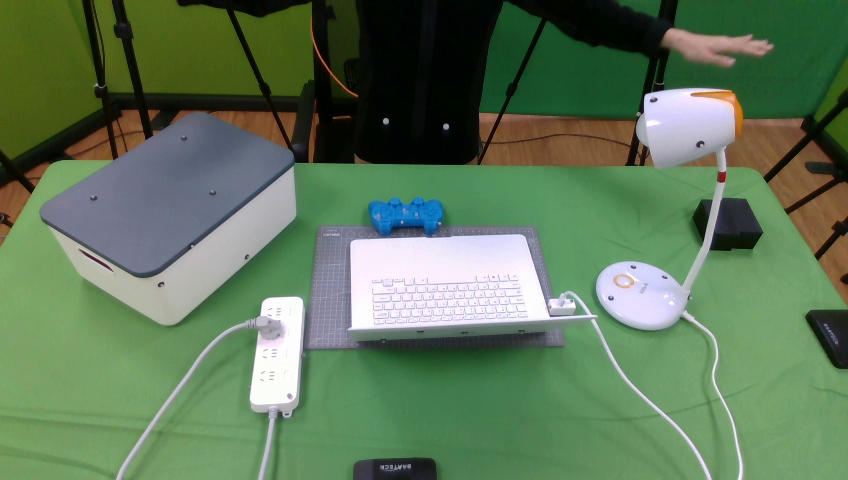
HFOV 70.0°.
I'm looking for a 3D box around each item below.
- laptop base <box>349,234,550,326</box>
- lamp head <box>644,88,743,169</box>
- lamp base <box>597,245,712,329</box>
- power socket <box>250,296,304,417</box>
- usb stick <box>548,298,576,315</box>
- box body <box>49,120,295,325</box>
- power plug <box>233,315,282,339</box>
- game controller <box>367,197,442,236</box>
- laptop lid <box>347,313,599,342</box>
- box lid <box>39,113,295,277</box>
[{"bbox_3d":[0.040,0.080,1.125,0.355,0.023,0.234,-2,43,-6],"label":"laptop base"},{"bbox_3d":[0.380,-0.161,0.851,0.122,0.113,0.112,-4,42,25],"label":"lamp head"},{"bbox_3d":[0.418,0.051,1.071,0.179,0.181,0.160,22,49,13],"label":"lamp base"},{"bbox_3d":[-0.239,0.182,0.996,0.072,0.033,0.225,-2,47,-5],"label":"power socket"},{"bbox_3d":[0.240,0.119,1.086,0.059,0.027,0.021,-2,52,-1],"label":"usb stick"},{"bbox_3d":[-0.437,-0.046,1.110,0.253,0.161,0.363,24,49,19],"label":"box body"},{"bbox_3d":[-0.271,0.144,0.999,0.072,0.053,0.035,6,47,3],"label":"power plug"},{"bbox_3d":[-0.037,-0.057,1.231,0.155,0.052,0.096,-2,49,-5],"label":"game controller"},{"bbox_3d":[0.062,0.137,0.932,0.357,0.242,0.013,-2,77,-8],"label":"laptop lid"},{"bbox_3d":[-0.435,-0.096,1.056,0.262,0.015,0.370,25,48,18],"label":"box lid"}]
